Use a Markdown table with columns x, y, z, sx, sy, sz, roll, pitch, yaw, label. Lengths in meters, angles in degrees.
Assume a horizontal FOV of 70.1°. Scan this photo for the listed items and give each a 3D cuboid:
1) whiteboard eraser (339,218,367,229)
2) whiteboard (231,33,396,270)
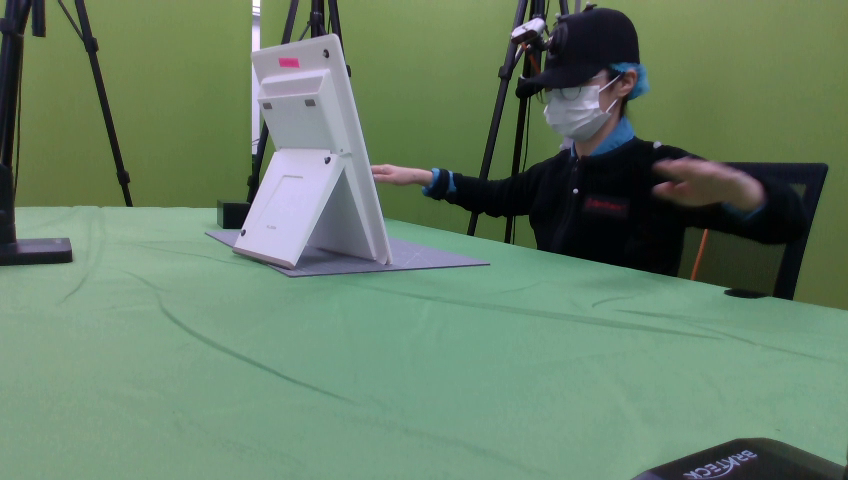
| x | y | z | sx | sy | sz | roll | pitch | yaw | label |
| --- | --- | --- | --- | --- | --- | --- | --- | --- | --- |
| -0.146 | -0.036 | 1.246 | 0.041 | 0.019 | 0.101 | 1 | 5 | 9 | whiteboard eraser |
| -0.193 | -0.094 | 0.805 | 0.144 | 0.305 | 0.216 | -29 | 25 | -35 | whiteboard |
